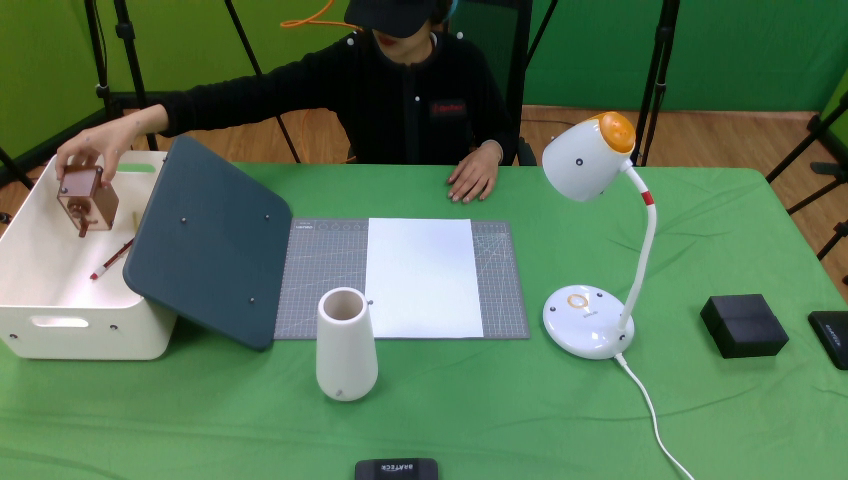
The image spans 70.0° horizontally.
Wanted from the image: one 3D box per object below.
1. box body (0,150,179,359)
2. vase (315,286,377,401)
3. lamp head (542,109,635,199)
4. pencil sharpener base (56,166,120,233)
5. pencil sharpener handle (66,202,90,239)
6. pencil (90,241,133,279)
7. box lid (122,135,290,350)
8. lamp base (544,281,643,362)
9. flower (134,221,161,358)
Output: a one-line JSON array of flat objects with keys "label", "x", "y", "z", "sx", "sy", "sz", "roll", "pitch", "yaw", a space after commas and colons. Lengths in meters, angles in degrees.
[{"label": "box body", "x": -0.541, "y": 0.021, "z": 1.042, "sx": 0.254, "sy": 0.161, "sz": 0.361, "roll": 1, "pitch": 46, "yaw": -3}, {"label": "vase", "x": -0.119, "y": 0.159, "z": 0.911, "sx": 0.098, "sy": 0.201, "sz": 0.097, "roll": 2, "pitch": 47, "yaw": -2}, {"label": "lamp head", "x": 0.253, "y": -0.131, "z": 0.893, "sx": 0.113, "sy": 0.123, "sz": 0.112, "roll": 10, "pitch": 66, "yaw": -24}, {"label": "pencil sharpener base", "x": -0.587, "y": -0.067, "z": 1.065, "sx": 0.061, "sy": 0.107, "sz": 0.076, "roll": 1, "pitch": 56, "yaw": -7}, {"label": "pencil sharpener handle", "x": -0.584, "y": -0.032, "z": 1.026, "sx": 0.036, "sy": 0.068, "sz": 0.030, "roll": 2, "pitch": 56, "yaw": -8}, {"label": "pencil", "x": -0.552, "y": 0.007, "z": 1.146, "sx": 0.012, "sy": 0.012, "sz": 0.193, "roll": 22, "pitch": 49, "yaw": 17}, {"label": "box lid", "x": -0.355, "y": -0.006, "z": 1.059, "sx": 0.015, "sy": 0.265, "sz": 0.369, "roll": -33, "pitch": 39, "yaw": 27}, {"label": "lamp base", "x": 0.303, "y": 0.095, "z": 1.014, "sx": 0.161, "sy": 0.181, "sz": 0.178, "roll": -24, "pitch": 54, "yaw": -24}, {"label": "flower", "x": -0.508, "y": 0.071, "z": 1.093, "sx": 0.044, "sy": 0.038, "sz": 0.359, "roll": -41, "pitch": 45, "yaw": 8}]
